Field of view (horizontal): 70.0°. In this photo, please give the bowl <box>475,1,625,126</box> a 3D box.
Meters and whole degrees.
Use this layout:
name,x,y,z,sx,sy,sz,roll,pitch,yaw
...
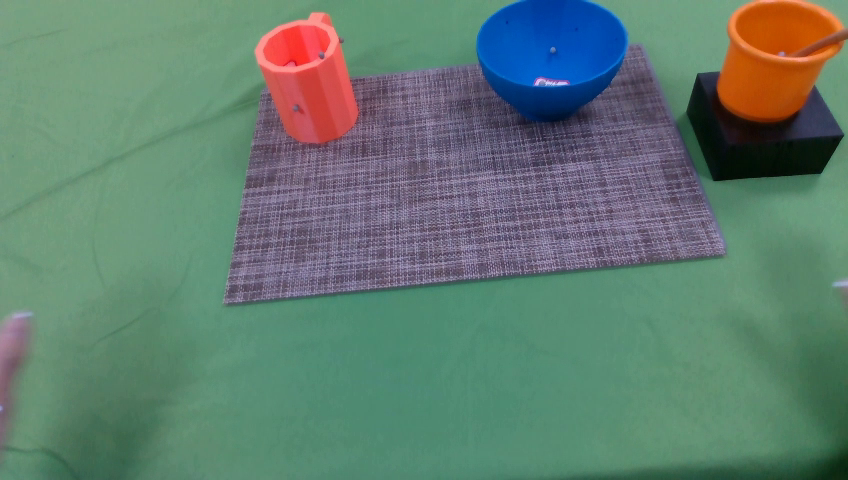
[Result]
name,x,y,z,sx,sy,sz,roll,pitch,yaw
bowl,0.129,-0.174,0.639,0.151,0.077,0.150,-3,53,5

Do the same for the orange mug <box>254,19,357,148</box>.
name,x,y,z,sx,sy,sz,roll,pitch,yaw
orange mug,-0.122,-0.179,0.661,0.083,0.102,0.125,5,59,11

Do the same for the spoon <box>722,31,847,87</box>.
name,x,y,z,sx,sy,sz,roll,pitch,yaw
spoon,0.334,-0.158,0.498,0.041,0.193,0.022,-36,100,-21
